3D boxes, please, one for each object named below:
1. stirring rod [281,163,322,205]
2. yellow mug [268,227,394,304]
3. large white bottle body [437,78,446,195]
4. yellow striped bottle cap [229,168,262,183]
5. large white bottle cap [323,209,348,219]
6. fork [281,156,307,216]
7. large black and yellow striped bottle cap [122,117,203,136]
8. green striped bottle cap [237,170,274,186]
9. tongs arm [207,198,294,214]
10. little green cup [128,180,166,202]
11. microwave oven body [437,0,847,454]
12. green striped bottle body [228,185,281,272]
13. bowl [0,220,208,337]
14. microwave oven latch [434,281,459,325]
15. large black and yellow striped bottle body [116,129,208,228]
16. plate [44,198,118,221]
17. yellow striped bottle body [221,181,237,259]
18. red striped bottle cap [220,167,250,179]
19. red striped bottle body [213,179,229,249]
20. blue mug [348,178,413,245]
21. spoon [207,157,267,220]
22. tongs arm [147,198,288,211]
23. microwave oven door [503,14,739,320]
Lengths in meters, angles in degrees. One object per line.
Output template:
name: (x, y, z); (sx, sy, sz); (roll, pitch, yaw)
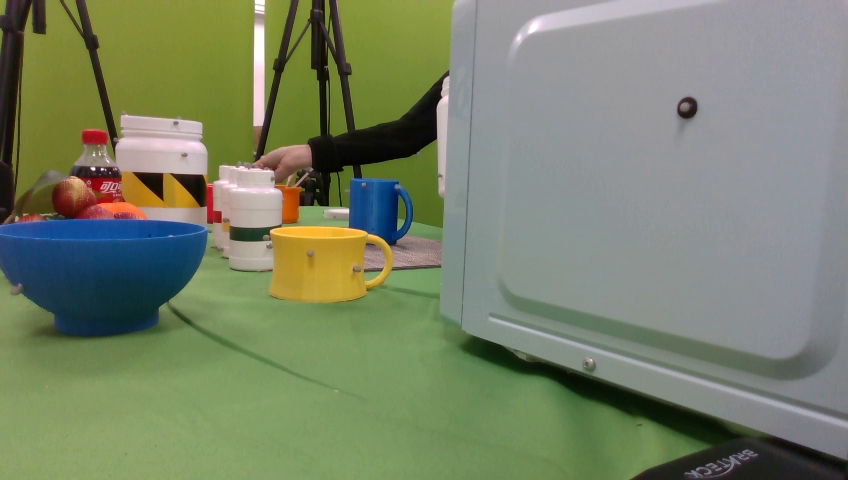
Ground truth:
stirring rod: (-0.280, -0.107, 1.299); (0.014, 0.006, 0.176); (8, 52, 52)
yellow mug: (-0.094, 0.024, 0.629); (0.131, 0.064, 0.099); (0, 7, -22)
large white bottle body: (0.085, -0.157, 0.933); (0.131, 0.184, 0.130); (-2, 1, 0)
yellow striped bottle cap: (-0.240, -0.087, 0.816); (0.044, 0.018, 0.044); (-2, 6, 1)
large white bottle cap: (-0.184, -0.062, 1.450); (0.115, 0.018, 0.115); (2, 8, 0)
fork: (-0.294, -0.117, 1.324); (0.028, 0.019, 0.207); (2, 51, 15)
large black and yellow striped bottle cap: (-0.399, -0.174, 0.927); (0.115, 0.019, 0.115); (5, 9, -1)
green striped bottle cap: (-0.205, -0.075, 0.737); (0.044, 0.020, 0.044); (2, 6, 0)
tongs arm: (-0.423, -0.084, 1.473); (0.050, 0.026, 0.386); (1, 6, 22)
little green cup: (-0.485, -0.087, 1.062); (0.061, 0.038, 0.061); (-1, 6, 0)
microwave oven body: (0.279, -0.040, 0.464); (0.444, 0.260, 0.324); (-3, 9, -41)
green striped bottle body: (-0.208, -0.024, 0.745); (0.063, 0.119, 0.063); (2, 7, 0)
bowl: (-0.251, 0.029, 0.479); (0.151, 0.077, 0.151); (2, 7, 0)
microwave oven latch: (0.044, 0.045, 0.470); (0.079, 0.029, 0.030); (-2, 8, -39)
large black and yellow striped bottle body: (-0.404, -0.089, 0.937); (0.131, 0.184, 0.130); (3, 7, 0)
plate: (-0.617, -0.056, 1.179); (0.209, 0.038, 0.209); (3, 7, 0)
yellow striped bottle body: (-0.244, -0.035, 0.823); (0.063, 0.120, 0.063); (2, 8, 0)
red striped bottle cap: (-0.281, -0.099, 0.901); (0.044, 0.017, 0.044); (-1, 4, 0)
red striped bottle body: (-0.284, -0.048, 0.909); (0.063, 0.119, 0.063); (3, 10, 0)
blue mug: (-0.071, -0.047, 1.002); (0.116, 0.106, 0.082); (7, 9, 26)
spoon: (-0.382, -0.109, 1.251); (0.041, 0.194, 0.022); (0, -40, 39)
tongs arm: (-0.503, -0.090, 1.513); (0.028, 0.028, 0.389); (-1, 3, 38)
microwave oven door: (0.218, -0.065, 0.600); (0.358, 0.243, 0.039); (-4, 10, -41)
